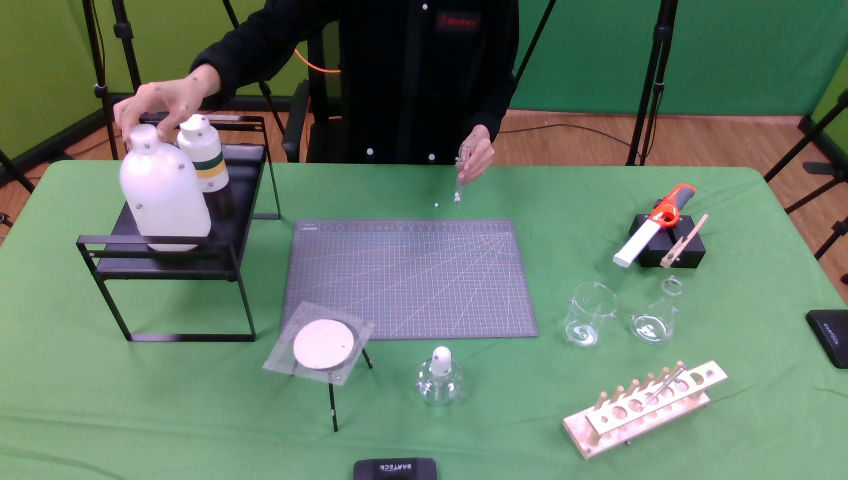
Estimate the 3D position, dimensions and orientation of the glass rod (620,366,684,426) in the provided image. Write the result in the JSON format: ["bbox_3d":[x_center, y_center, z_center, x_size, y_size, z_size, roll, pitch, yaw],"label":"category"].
[{"bbox_3d":[0.323,0.227,0.866,0.008,0.200,0.008,5,51,-7],"label":"glass rod"}]

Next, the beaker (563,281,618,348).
[{"bbox_3d":[0.283,0.129,1.041,0.074,0.101,0.083,11,46,7],"label":"beaker"}]

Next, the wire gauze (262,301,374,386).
[{"bbox_3d":[-0.150,0.148,0.873,0.121,0.011,0.124,14,46,12],"label":"wire gauze"}]

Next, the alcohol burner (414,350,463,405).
[{"bbox_3d":[0.023,0.205,0.939,0.078,0.120,0.077,1,48,-1],"label":"alcohol burner"}]

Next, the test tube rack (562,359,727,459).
[{"bbox_3d":[0.341,0.247,0.940,0.243,0.085,0.066,-16,49,-18],"label":"test tube rack"}]

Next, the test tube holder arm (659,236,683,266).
[{"bbox_3d":[0.472,0.020,1.149,0.010,0.015,0.088,35,54,27],"label":"test tube holder arm"}]

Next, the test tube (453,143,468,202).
[{"bbox_3d":[0.067,-0.121,1.121,0.017,0.151,0.017,2,54,-2],"label":"test tube"}]

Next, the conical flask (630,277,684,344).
[{"bbox_3d":[0.408,0.117,1.045,0.075,0.122,0.075,2,46,-2],"label":"conical flask"}]

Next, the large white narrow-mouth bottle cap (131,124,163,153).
[{"bbox_3d":[-0.371,-0.137,0.812,0.038,0.024,0.037,3,46,-3],"label":"large white narrow-mouth bottle cap"}]

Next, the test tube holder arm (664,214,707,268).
[{"bbox_3d":[0.507,-0.001,1.171,0.013,0.015,0.178,34,54,26],"label":"test tube holder arm"}]

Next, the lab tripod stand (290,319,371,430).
[{"bbox_3d":[-0.146,0.194,0.923,0.148,0.132,0.147,1,47,-1],"label":"lab tripod stand"}]

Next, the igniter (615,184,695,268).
[{"bbox_3d":[0.459,-0.035,1.197,0.057,0.025,0.276,33,55,27],"label":"igniter"}]

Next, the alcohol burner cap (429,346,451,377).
[{"bbox_3d":[0.026,0.180,0.912,0.034,0.048,0.033,1,47,-1],"label":"alcohol burner cap"}]

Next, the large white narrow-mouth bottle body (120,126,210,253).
[{"bbox_3d":[-0.378,-0.077,0.875,0.102,0.195,0.101,3,46,-3],"label":"large white narrow-mouth bottle body"}]

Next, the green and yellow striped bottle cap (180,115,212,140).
[{"bbox_3d":[-0.358,-0.177,0.951,0.045,0.020,0.045,2,45,-1],"label":"green and yellow striped bottle cap"}]

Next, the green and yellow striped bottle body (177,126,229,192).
[{"bbox_3d":[-0.362,-0.142,0.989,0.063,0.120,0.063,2,46,-2],"label":"green and yellow striped bottle body"}]
